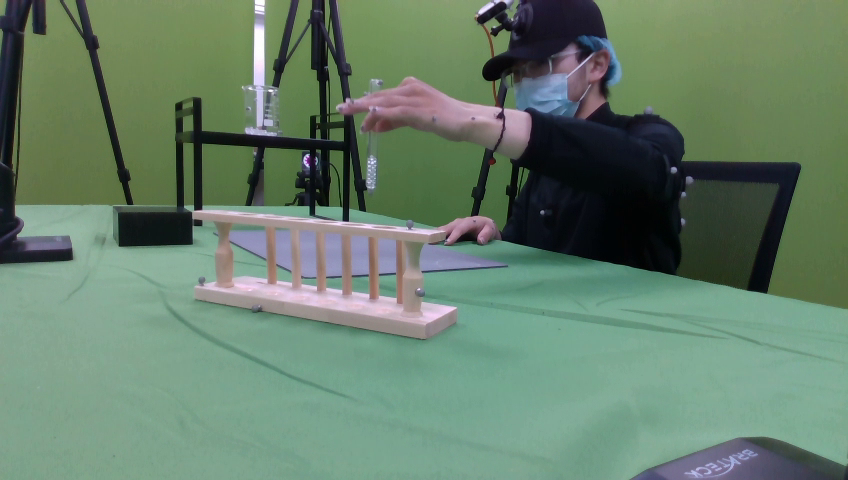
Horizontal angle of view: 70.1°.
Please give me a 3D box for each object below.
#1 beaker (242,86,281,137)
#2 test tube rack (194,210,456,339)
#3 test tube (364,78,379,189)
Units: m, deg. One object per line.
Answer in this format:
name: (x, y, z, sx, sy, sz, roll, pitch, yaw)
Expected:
beaker: (-0.338, -0.265, 1.253, 0.073, 0.100, 0.084, 8, 9, 38)
test tube rack: (-0.093, 0.023, 0.546, 0.241, 0.085, 0.067, 6, 8, 25)
test tube: (-0.071, -0.145, 0.820, 0.017, 0.150, 0.017, 2, -1, 0)
